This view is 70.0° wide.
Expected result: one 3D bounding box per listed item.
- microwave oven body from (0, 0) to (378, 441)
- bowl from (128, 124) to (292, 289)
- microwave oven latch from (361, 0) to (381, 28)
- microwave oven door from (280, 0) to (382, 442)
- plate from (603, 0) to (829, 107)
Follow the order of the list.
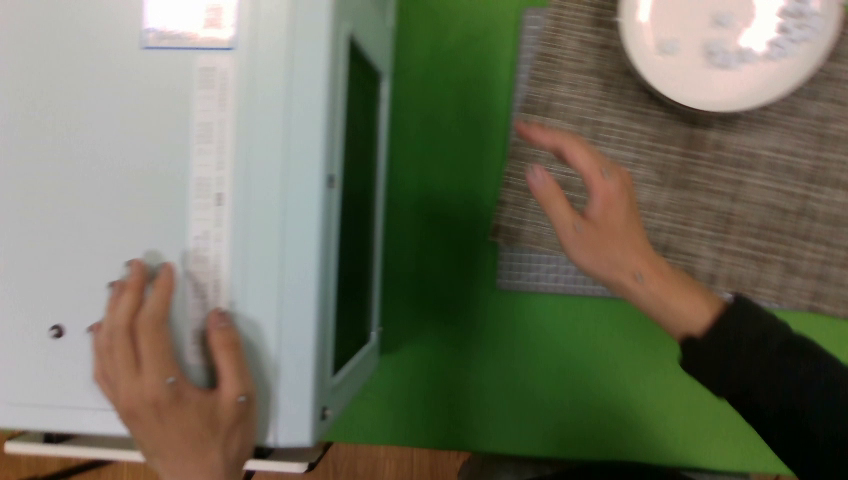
[{"bbox_3d":[-0.220,-0.082,0.552,0.326,0.260,0.442,2,95,5],"label":"microwave oven body"},{"bbox_3d":[-0.192,-0.031,0.584,0.151,0.077,0.151,0,93,5],"label":"bowl"},{"bbox_3d":[-0.058,-0.260,0.619,0.030,0.029,0.079,2,95,5],"label":"microwave oven latch"},{"bbox_3d":[-0.076,-0.036,0.536,0.039,0.244,0.356,1,94,7],"label":"microwave oven door"},{"bbox_3d":[0.282,-0.234,0.599,0.209,0.038,0.209,0,93,6],"label":"plate"}]
